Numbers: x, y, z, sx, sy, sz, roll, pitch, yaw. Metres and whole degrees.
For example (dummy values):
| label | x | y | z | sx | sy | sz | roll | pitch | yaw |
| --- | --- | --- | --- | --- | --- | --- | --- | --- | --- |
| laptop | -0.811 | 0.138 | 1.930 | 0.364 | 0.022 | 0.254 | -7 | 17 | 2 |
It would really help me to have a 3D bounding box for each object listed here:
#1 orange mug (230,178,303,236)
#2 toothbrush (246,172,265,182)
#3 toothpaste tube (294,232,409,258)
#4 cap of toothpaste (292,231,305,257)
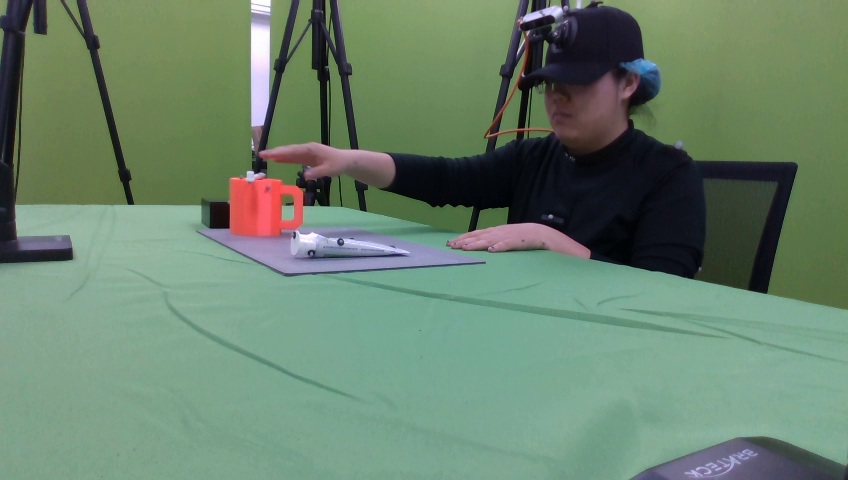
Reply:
| label | x | y | z | sx | sy | sz | roll | pitch | yaw |
| --- | --- | --- | --- | --- | --- | --- | --- | --- | --- |
| orange mug | -0.275 | -0.060 | 1.058 | 0.126 | 0.101 | 0.083 | -2 | 8 | -5 |
| toothbrush | -0.292 | -0.112 | 1.050 | 0.014 | 0.016 | 0.181 | -6 | 9 | -8 |
| toothpaste tube | -0.103 | 0.010 | 0.853 | 0.166 | 0.034 | 0.055 | 3 | 11 | -34 |
| cap of toothpaste | -0.169 | 0.005 | 0.812 | 0.011 | 0.037 | 0.037 | 6 | 4 | -30 |
